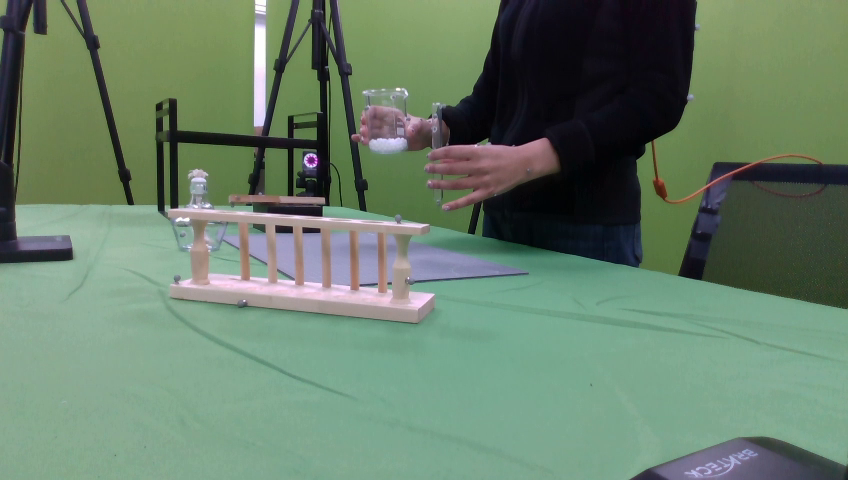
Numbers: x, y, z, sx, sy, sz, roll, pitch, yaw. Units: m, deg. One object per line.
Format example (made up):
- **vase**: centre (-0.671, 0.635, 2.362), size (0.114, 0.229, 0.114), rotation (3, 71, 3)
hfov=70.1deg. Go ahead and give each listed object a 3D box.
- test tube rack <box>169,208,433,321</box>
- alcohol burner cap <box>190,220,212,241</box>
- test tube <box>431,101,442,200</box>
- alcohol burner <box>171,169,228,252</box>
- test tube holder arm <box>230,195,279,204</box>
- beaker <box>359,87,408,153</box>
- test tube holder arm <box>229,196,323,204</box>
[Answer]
- **test tube rack**: centre (-0.115, 0.017, 0.574), size (0.242, 0.085, 0.067), rotation (4, 8, 14)
- **alcohol burner cap**: centre (-0.365, -0.023, 0.988), size (0.034, 0.048, 0.034), rotation (1, 7, 0)
- **test tube**: centre (0.019, -0.137, 0.927), size (0.017, 0.150, 0.017), rotation (-1, 8, 0)
- **alcohol burner**: centre (-0.325, -0.043, 0.875), size (0.078, 0.119, 0.078), rotation (0, 7, 0)
- **test tube holder arm**: centre (-0.311, -0.075, 1.115), size (0.088, 0.015, 0.010), rotation (-1, 0, -31)
- **beaker**: centre (-0.063, -0.201, 1.009), size (0.083, 0.100, 0.074), rotation (7, 23, 28)
- **test tube holder arm**: centre (-0.275, -0.076, 1.143), size (0.179, 0.015, 0.013), rotation (-1, 0, -32)
